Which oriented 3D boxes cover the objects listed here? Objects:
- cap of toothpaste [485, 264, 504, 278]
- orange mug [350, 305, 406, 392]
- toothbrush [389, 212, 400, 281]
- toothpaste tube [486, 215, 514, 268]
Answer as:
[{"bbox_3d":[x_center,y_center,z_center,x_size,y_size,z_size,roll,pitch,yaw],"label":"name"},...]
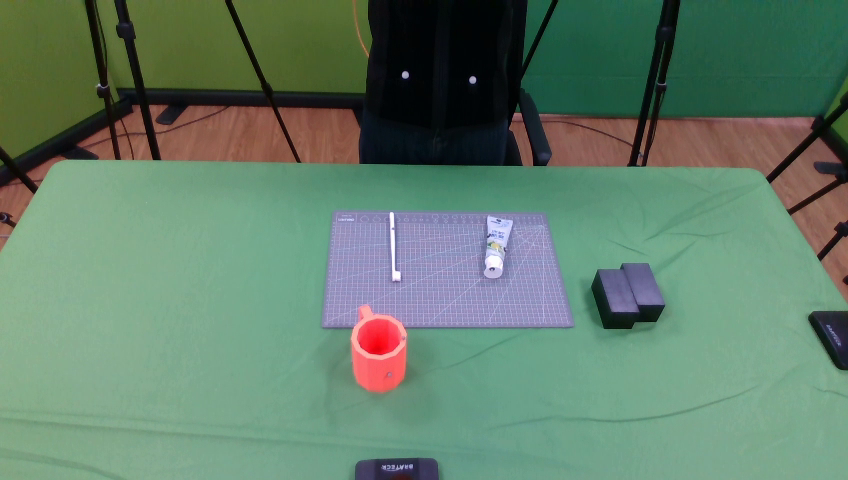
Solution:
[{"bbox_3d":[0.132,0.057,1.137,0.037,0.037,0.011,1,48,-2],"label":"cap of toothpaste"},{"bbox_3d":[-0.080,0.168,0.978,0.083,0.101,0.125,-16,54,-18],"label":"orange mug"},{"bbox_3d":[-0.059,0.010,1.186,0.017,0.014,0.180,1,46,-8],"label":"toothbrush"},{"bbox_3d":[0.147,0.005,1.197,0.055,0.034,0.164,14,42,0],"label":"toothpaste tube"}]
